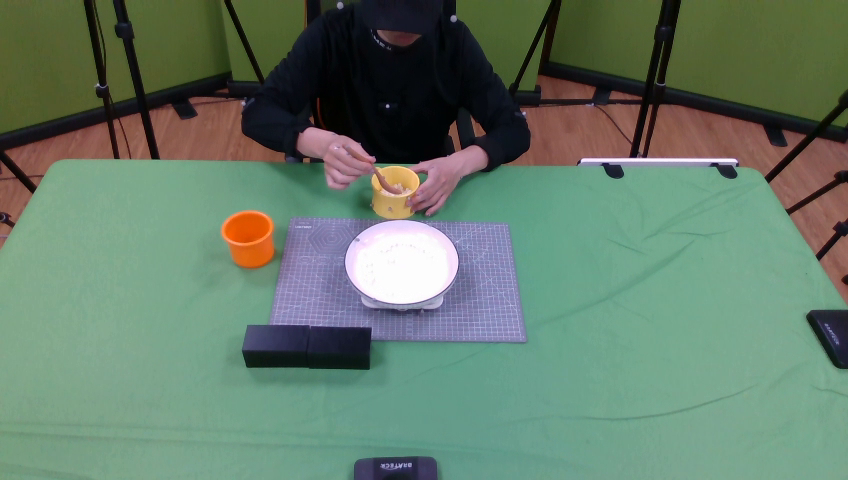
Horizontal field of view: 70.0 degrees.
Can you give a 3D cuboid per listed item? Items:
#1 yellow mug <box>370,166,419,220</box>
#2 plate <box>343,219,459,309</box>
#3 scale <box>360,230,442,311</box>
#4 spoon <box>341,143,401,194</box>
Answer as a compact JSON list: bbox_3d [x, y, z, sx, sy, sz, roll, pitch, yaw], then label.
[{"bbox_3d":[-0.073,-0.108,1.268,0.100,0.064,0.130,-29,55,-31],"label":"yellow mug"},{"bbox_3d":[-0.041,0.046,1.094,0.209,0.038,0.208,2,46,-2],"label":"plate"},{"bbox_3d":[-0.042,0.047,1.138,0.149,0.032,0.199,2,46,-3],"label":"scale"},{"bbox_3d":[-0.100,-0.135,1.155,0.041,0.195,0.021,32,82,38],"label":"spoon"}]
